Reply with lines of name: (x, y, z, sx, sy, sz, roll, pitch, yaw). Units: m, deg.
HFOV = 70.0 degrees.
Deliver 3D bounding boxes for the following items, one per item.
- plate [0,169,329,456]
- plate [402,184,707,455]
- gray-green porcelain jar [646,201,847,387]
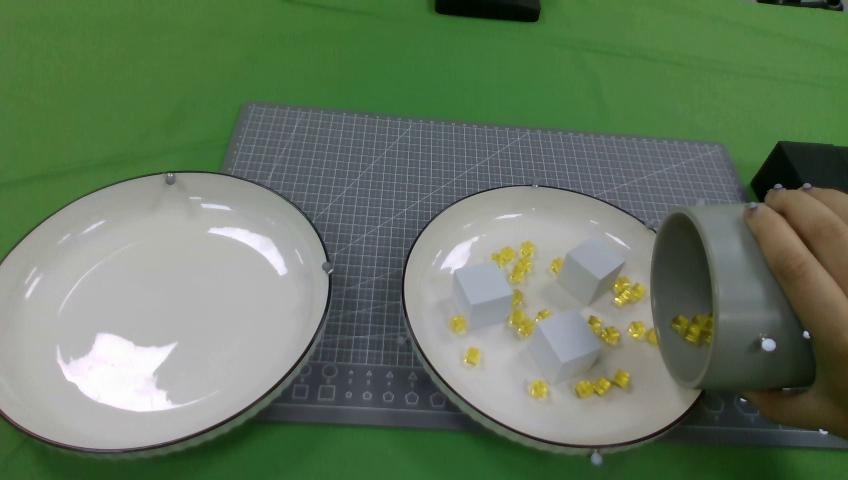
plate: (-0.165, 0.039, 0.385, 0.209, 0.038, 0.207, 3, 50, -3)
plate: (0.087, 0.048, 0.412, 0.208, 0.039, 0.205, 4, 50, -4)
gray-green porcelain jar: (0.206, 0.030, 0.346, 0.126, 0.107, 0.105, -1, 50, 3)
